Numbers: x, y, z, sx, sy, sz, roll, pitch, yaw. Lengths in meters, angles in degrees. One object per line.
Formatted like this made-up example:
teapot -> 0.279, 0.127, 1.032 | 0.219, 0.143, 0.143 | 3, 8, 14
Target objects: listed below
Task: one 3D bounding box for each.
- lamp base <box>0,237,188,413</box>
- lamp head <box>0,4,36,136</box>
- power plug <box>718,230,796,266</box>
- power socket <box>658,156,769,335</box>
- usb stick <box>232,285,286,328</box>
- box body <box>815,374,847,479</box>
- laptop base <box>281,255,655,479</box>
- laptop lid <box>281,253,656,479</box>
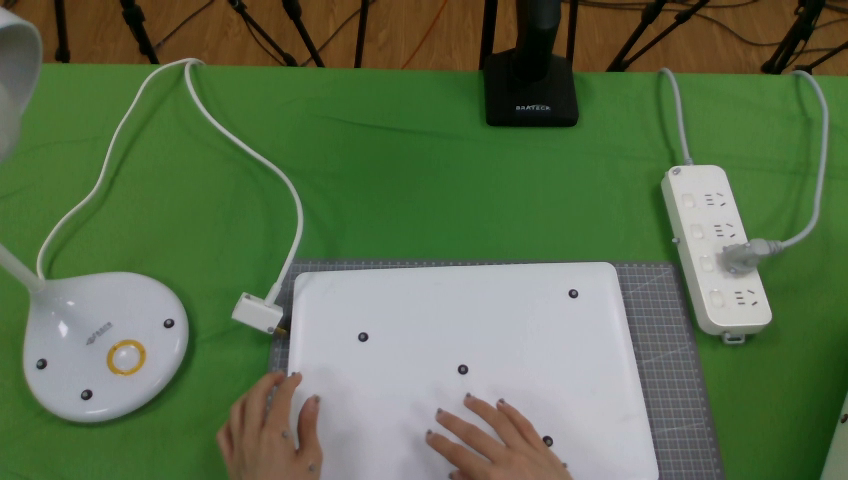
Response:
lamp base -> -0.336, 0.055, 0.560 | 0.178, 0.182, 0.160 | 24, 62, 15
lamp head -> -0.280, -0.092, 0.296 | 0.123, 0.112, 0.112 | 28, 61, -13
power plug -> 0.357, 0.014, 0.658 | 0.072, 0.053, 0.035 | 9, 60, 3
power socket -> 0.326, -0.003, 0.693 | 0.072, 0.033, 0.224 | -1, 61, -3
usb stick -> -0.167, 0.072, 0.629 | 0.059, 0.021, 0.027 | 31, 96, -22
box body -> 0.516, 0.187, 0.517 | 0.253, 0.161, 0.363 | 30, 65, 14
laptop base -> 0.039, 0.128, 0.621 | 0.355, 0.023, 0.233 | -2, 65, -3
laptop lid -> 0.039, 0.125, 0.610 | 0.357, 0.013, 0.239 | -1, 64, -2
